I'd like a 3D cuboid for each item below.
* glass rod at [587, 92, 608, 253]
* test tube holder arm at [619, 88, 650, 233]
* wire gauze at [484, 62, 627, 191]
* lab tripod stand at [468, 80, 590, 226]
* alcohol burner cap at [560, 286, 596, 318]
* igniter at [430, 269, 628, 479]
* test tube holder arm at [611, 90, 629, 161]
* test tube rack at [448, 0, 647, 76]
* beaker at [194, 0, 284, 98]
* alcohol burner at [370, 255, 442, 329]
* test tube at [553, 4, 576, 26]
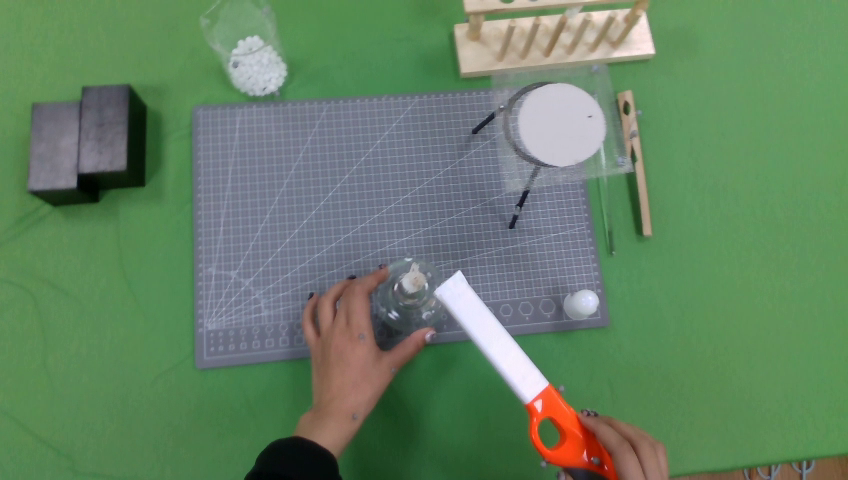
[{"bbox_3d":[0.206,-0.083,0.720,0.008,0.008,0.199,-2,80,-5],"label":"glass rod"},{"bbox_3d":[0.248,-0.095,0.718,0.013,0.015,0.177,-13,76,28],"label":"test tube holder arm"},{"bbox_3d":[0.125,-0.114,0.584,0.121,0.011,0.124,-7,76,-4],"label":"wire gauze"},{"bbox_3d":[0.110,-0.101,0.650,0.148,0.132,0.147,0,77,-1],"label":"lab tripod stand"},{"bbox_3d":[0.170,0.065,0.661,0.034,0.048,0.033,1,76,-4],"label":"alcohol burner cap"},{"bbox_3d":[0.102,0.143,0.536,0.057,0.025,0.276,-38,89,-14],"label":"igniter"},{"bbox_3d":[0.239,-0.138,0.731,0.010,0.015,0.087,-13,76,28],"label":"test tube holder arm"},{"bbox_3d":[0.155,-0.257,0.718,0.243,0.085,0.066,-7,77,-5],"label":"test tube rack"},{"bbox_3d":[-0.202,-0.212,0.676,0.084,0.100,0.073,13,75,0],"label":"beaker"},{"bbox_3d":[-0.017,0.050,0.616,0.078,0.119,0.077,1,74,-2],"label":"alcohol burner"},{"bbox_3d":[0.175,-0.287,0.676,0.017,0.150,0.017,2,75,-9],"label":"test tube"}]
